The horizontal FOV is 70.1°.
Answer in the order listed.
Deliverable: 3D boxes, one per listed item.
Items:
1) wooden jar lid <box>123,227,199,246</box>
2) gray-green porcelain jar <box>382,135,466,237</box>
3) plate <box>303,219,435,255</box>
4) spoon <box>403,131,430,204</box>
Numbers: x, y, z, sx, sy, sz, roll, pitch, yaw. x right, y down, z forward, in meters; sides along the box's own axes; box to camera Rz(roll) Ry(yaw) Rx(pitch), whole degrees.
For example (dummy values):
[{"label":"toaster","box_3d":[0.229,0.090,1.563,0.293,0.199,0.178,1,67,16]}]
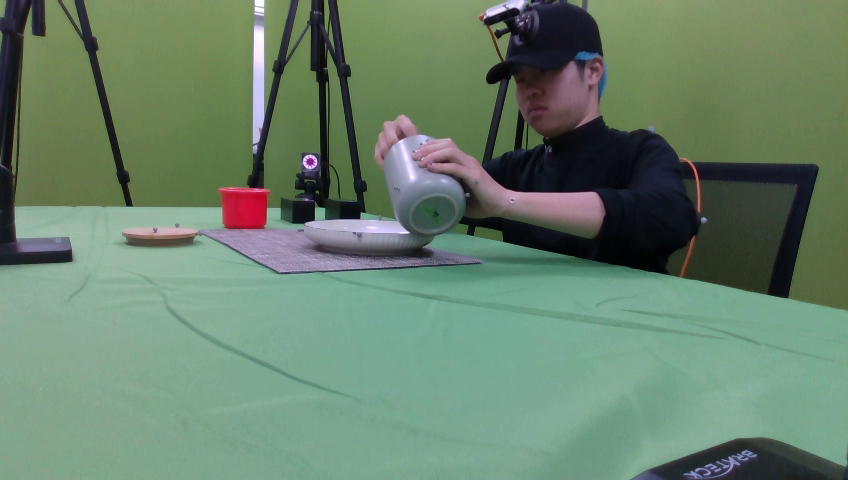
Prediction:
[{"label":"wooden jar lid","box_3d":[-0.408,-0.006,0.942,0.108,0.020,0.108,3,6,0]},{"label":"gray-green porcelain jar","box_3d":[0.000,-0.076,0.881,0.106,0.106,0.126,1,41,-16]},{"label":"plate","box_3d":[-0.084,-0.005,0.952,0.208,0.039,0.207,3,7,0]},{"label":"spoon","box_3d":[-0.016,-0.114,0.912,0.041,0.022,0.193,-25,33,12]}]
